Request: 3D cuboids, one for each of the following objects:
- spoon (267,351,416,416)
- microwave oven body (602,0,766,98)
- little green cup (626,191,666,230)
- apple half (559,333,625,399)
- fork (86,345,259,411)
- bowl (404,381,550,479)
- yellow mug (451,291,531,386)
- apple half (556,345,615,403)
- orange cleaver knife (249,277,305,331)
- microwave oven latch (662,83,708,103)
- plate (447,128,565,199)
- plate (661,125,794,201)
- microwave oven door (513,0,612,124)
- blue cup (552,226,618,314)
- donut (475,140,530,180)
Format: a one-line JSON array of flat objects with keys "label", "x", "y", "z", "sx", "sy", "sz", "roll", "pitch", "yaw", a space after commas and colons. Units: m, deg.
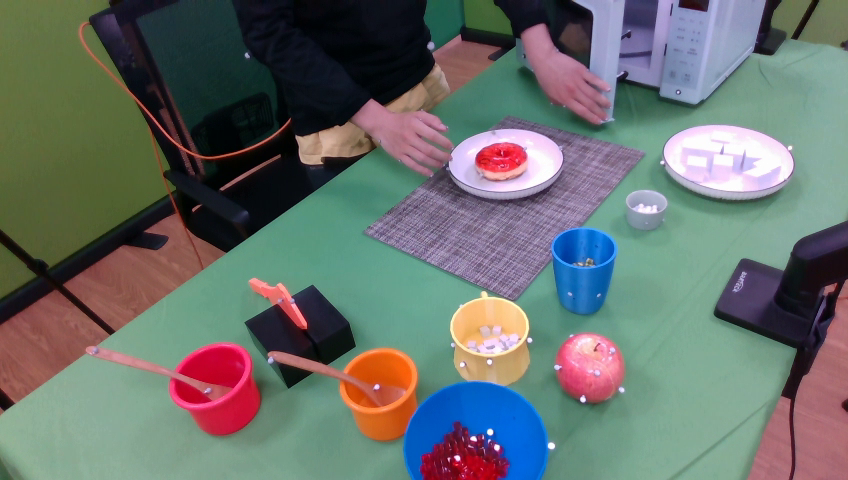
[{"label": "spoon", "x": -0.091, "y": 0.162, "z": 0.699, "sx": 0.021, "sy": 0.195, "sz": 0.041, "roll": -45, "pitch": 30, "yaw": 27}, {"label": "microwave oven body", "x": 0.472, "y": -0.513, "z": 1.317, "sx": 0.438, "sy": 0.261, "sz": 0.327, "roll": 26, "pitch": 51, "yaw": 34}, {"label": "little green cup", "x": 0.352, "y": -0.046, "z": 0.963, "sx": 0.061, "sy": 0.039, "sz": 0.061, "roll": -4, "pitch": 40, "yaw": 4}, {"label": "apple half", "x": 0.209, "y": 0.147, "z": 0.730, "sx": 0.080, "sy": 0.075, "sz": 0.053, "roll": 26, "pitch": 47, "yaw": 38}, {"label": "fork", "x": -0.298, "y": 0.166, "z": 0.728, "sx": 0.209, "sy": 0.018, "sz": 0.028, "roll": 28, "pitch": 47, "yaw": -23}, {"label": "bowl", "x": 0.058, "y": 0.235, "z": 0.645, "sx": 0.151, "sy": 0.077, "sz": 0.150, "roll": -4, "pitch": 39, "yaw": 4}, {"label": "yellow mug", "x": 0.086, "y": 0.120, "z": 0.786, "sx": 0.100, "sy": 0.064, "sz": 0.130, "roll": -7, "pitch": 39, "yaw": 1}, {"label": "apple half", "x": 0.181, "y": 0.166, "z": 0.709, "sx": 0.080, "sy": 0.081, "sz": 0.033, "roll": 29, "pitch": 50, "yaw": 35}, {"label": "orange cleaver knife", "x": -0.210, "y": 0.088, "z": 0.855, "sx": 0.012, "sy": 0.077, "sz": 0.210, "roll": -28, "pitch": 15, "yaw": -25}, {"label": "microwave oven latch", "x": 0.518, "y": -0.296, "z": 1.204, "sx": 0.078, "sy": 0.029, "sz": 0.030, "roll": 28, "pitch": 52, "yaw": 35}, {"label": "plate", "x": 0.147, "y": -0.134, "z": 1.092, "sx": 0.209, "sy": 0.038, "sz": 0.208, "roll": -4, "pitch": 40, "yaw": 4}, {"label": "plate", "x": 0.513, "y": -0.128, "z": 1.035, "sx": 0.207, "sy": 0.039, "sz": 0.206, "roll": -4, "pitch": 40, "yaw": 4}, {"label": "microwave oven door", "x": 0.277, "y": -0.419, "z": 1.228, "sx": 0.039, "sy": 0.245, "sz": 0.353, "roll": -19, "pitch": 41, "yaw": -12}, {"label": "blue cup", "x": 0.218, "y": 0.047, "z": 0.826, "sx": 0.092, "sy": 0.101, "sz": 0.092, "roll": -6, "pitch": 40, "yaw": 5}, {"label": "donut", "x": 0.141, "y": -0.145, "z": 1.089, "sx": 0.099, "sy": 0.048, "sz": 0.098, "roll": -6, "pitch": 39, "yaw": 5}]
